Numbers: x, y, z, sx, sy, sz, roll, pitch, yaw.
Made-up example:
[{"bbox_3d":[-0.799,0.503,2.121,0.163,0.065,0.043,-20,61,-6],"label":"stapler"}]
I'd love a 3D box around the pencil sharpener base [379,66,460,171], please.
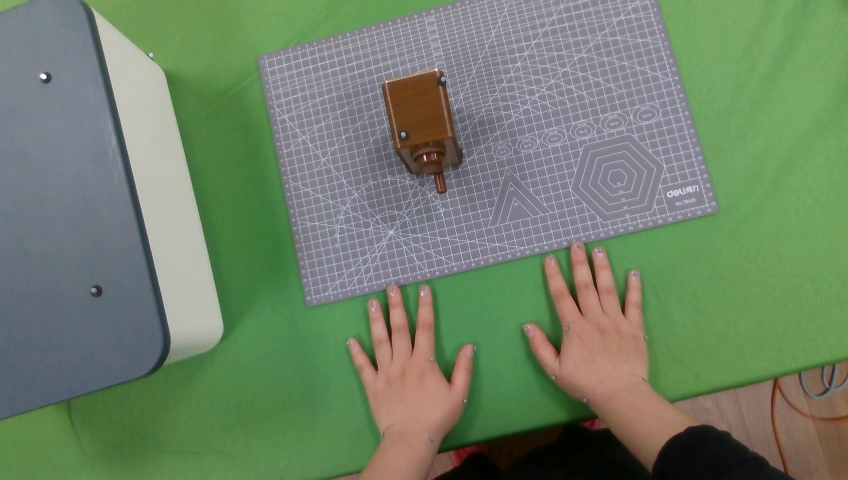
[{"bbox_3d":[-0.001,-0.117,0.620,0.061,0.107,0.076,-13,82,5],"label":"pencil sharpener base"}]

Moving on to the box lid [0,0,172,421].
[{"bbox_3d":[-0.390,-0.027,0.553,0.263,0.015,0.370,-18,83,3],"label":"box lid"}]

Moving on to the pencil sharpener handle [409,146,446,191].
[{"bbox_3d":[0.009,-0.069,0.602,0.036,0.068,0.030,-14,82,11],"label":"pencil sharpener handle"}]

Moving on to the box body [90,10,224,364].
[{"bbox_3d":[-0.384,-0.023,0.631,0.254,0.161,0.362,-17,82,4],"label":"box body"}]
